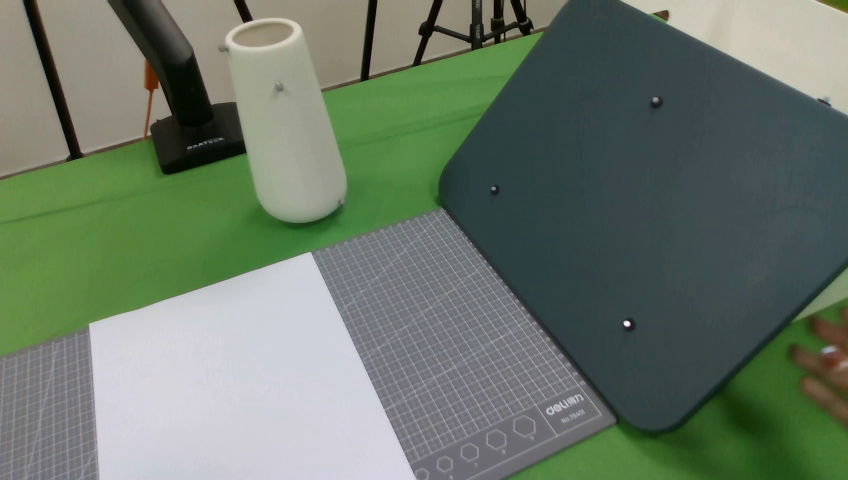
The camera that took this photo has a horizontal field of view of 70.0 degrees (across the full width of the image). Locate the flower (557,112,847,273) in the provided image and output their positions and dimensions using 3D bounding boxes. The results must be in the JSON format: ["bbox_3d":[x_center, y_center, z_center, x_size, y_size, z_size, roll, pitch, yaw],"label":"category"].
[{"bbox_3d":[0.295,-0.050,0.644,0.358,0.038,0.044,36,19,28],"label":"flower"}]

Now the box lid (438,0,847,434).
[{"bbox_3d":[0.165,-0.049,0.526,0.015,0.264,0.367,21,23,-42],"label":"box lid"}]

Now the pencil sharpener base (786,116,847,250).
[{"bbox_3d":[0.404,-0.057,0.569,0.061,0.108,0.076,-20,44,-19],"label":"pencil sharpener base"}]

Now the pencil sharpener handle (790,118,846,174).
[{"bbox_3d":[0.383,-0.097,0.595,0.036,0.068,0.030,-26,46,-12],"label":"pencil sharpener handle"}]

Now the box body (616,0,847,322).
[{"bbox_3d":[0.324,-0.112,0.605,0.254,0.162,0.359,-20,44,-16],"label":"box body"}]

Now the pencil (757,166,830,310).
[{"bbox_3d":[0.365,-0.009,0.601,0.012,0.012,0.192,0,47,5],"label":"pencil"}]

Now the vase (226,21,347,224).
[{"bbox_3d":[-0.139,-0.113,0.617,0.098,0.202,0.097,-3,42,3],"label":"vase"}]
